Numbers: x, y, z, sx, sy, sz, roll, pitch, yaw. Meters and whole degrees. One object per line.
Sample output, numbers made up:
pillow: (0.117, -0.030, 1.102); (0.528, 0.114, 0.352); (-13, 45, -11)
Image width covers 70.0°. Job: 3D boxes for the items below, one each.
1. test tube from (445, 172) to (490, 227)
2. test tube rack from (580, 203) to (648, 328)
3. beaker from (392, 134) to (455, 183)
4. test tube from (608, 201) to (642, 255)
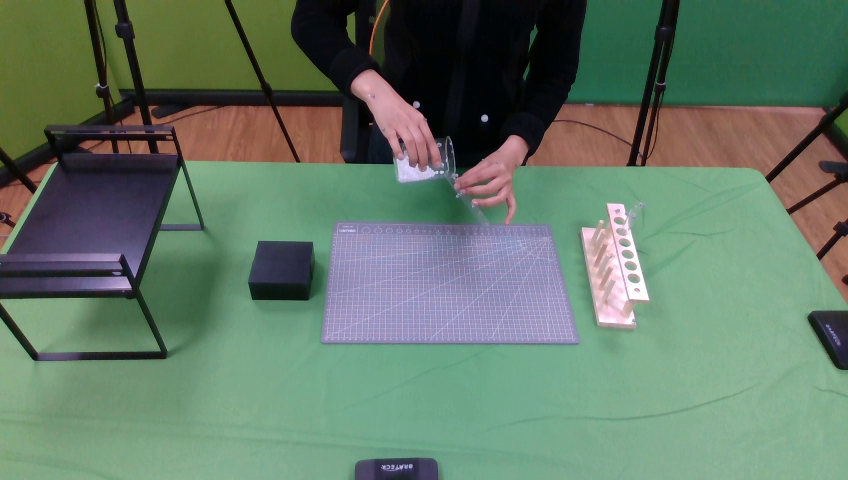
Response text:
test tube: (0.083, -0.073, 1.126); (0.017, 0.151, 0.017); (-23, 41, 22)
test tube rack: (0.352, 0.041, 1.142); (0.067, 0.085, 0.241); (4, 46, 0)
beaker: (-0.003, -0.137, 1.048); (0.100, 0.084, 0.073); (-8, 45, -6)
test tube: (0.373, -0.019, 1.133); (0.017, 0.151, 0.017); (3, 52, -4)
